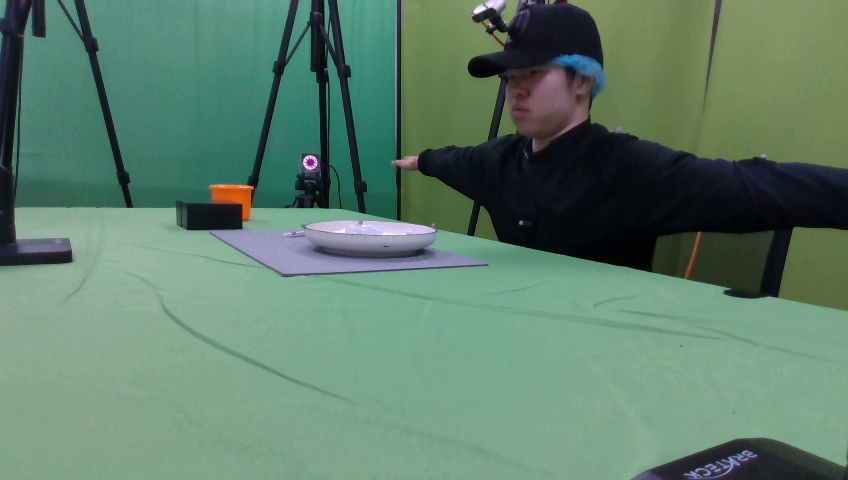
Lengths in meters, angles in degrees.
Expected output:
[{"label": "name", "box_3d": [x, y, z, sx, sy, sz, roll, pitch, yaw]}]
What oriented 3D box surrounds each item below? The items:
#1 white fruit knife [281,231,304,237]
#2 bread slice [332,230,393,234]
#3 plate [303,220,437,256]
[{"label": "white fruit knife", "box_3d": [-0.178, -0.017, 1.131, 0.208, 0.016, 0.027, -8, -17, -47]}, {"label": "bread slice", "box_3d": [-0.088, -0.001, 0.947, 0.105, 0.019, 0.131, -5, 10, -45]}, {"label": "plate", "box_3d": [-0.084, -0.003, 0.951, 0.209, 0.038, 0.209, 3, 7, 0]}]
